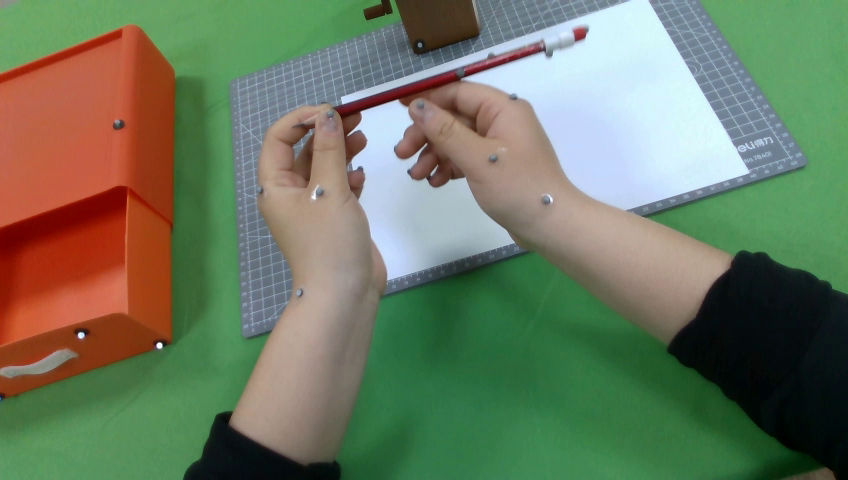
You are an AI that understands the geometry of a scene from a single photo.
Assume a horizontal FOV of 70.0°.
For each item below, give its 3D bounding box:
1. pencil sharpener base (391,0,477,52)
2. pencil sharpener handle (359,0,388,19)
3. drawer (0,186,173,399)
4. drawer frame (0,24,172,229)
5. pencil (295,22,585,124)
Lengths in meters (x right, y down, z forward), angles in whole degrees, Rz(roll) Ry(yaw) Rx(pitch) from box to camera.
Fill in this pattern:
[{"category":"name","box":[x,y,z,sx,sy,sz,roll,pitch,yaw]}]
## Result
[{"category":"pencil sharpener base","box":[-0.001,-0.237,0.555,0.076,0.108,0.061,-16,59,8]},{"category":"pencil sharpener handle","box":[-0.053,-0.230,0.552,0.030,0.068,0.035,-16,65,8]},{"category":"drawer","box":[-0.325,0.016,0.530,0.194,0.074,0.209,-19,58,6]},{"category":"drawer frame","box":[-0.352,-0.082,0.588,0.201,0.083,0.211,-19,58,6]},{"category":"pencil","box":[0.011,-0.104,0.383,0.194,0.012,0.012,-19,58,-4]}]
